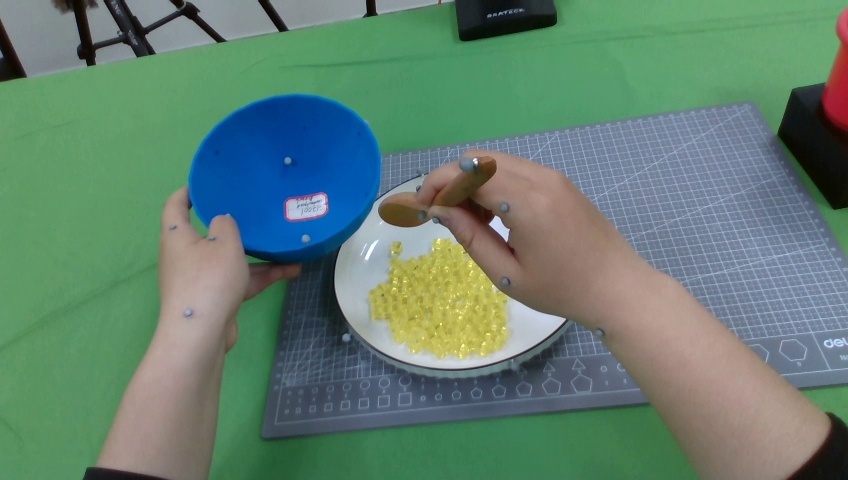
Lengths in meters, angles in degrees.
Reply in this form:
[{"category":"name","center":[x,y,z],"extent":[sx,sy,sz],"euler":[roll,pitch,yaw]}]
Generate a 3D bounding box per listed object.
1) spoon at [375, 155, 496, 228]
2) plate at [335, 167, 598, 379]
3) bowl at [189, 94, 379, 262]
[{"category":"spoon","center":[0.005,-0.023,0.353],"extent":[0.042,0.193,0.021],"euler":[9,86,-14]},{"category":"plate","center":[0.033,0.023,0.492],"extent":[0.207,0.039,0.205],"euler":[-6,49,7]},{"category":"bowl","center":[-0.107,-0.039,0.508],"extent":[0.151,0.077,0.150],"euler":[-1,62,2]}]
